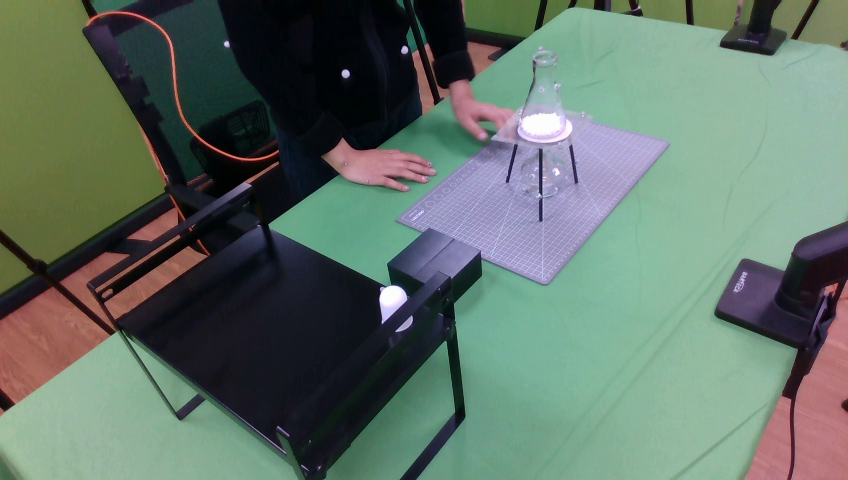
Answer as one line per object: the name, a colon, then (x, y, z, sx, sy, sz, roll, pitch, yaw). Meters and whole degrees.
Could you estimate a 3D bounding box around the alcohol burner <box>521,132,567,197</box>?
alcohol burner: (0.204, -0.132, 1.025, 0.078, 0.119, 0.077, -5, 42, 5)

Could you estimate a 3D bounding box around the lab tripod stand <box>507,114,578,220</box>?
lab tripod stand: (0.198, -0.128, 1.005, 0.148, 0.132, 0.147, -3, 42, 3)

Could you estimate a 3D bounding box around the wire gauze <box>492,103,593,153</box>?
wire gauze: (0.191, -0.179, 0.965, 0.120, 0.011, 0.125, 17, 49, 29)

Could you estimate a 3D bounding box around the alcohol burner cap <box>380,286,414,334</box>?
alcohol burner cap: (-0.029, 0.068, 0.605, 0.034, 0.048, 0.033, -5, 40, 4)

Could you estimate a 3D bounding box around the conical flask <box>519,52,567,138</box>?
conical flask: (0.183, -0.223, 0.926, 0.075, 0.122, 0.075, -4, 41, 4)
